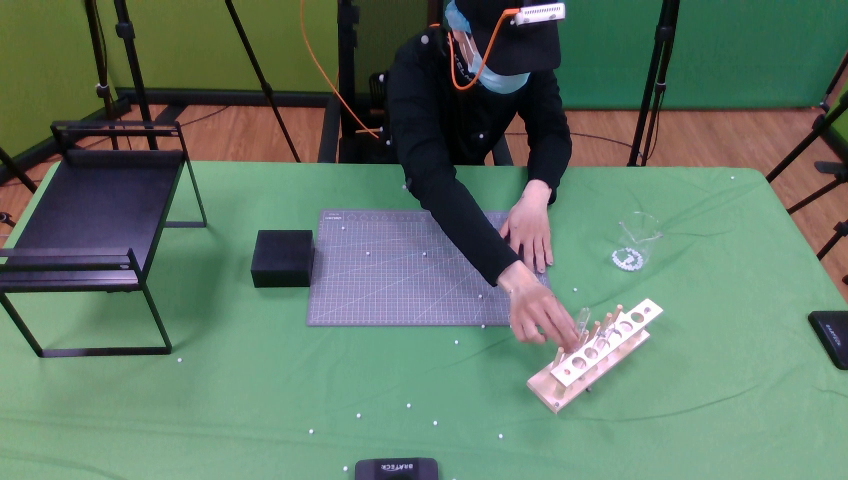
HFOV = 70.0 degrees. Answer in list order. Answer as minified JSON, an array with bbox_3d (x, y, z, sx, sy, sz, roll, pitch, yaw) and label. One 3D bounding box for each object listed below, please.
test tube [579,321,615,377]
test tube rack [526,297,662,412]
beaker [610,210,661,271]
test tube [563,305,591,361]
[{"bbox_3d":[0.265,0.172,0.941,0.017,0.151,0.017,4,49,-4],"label":"test tube"},{"bbox_3d":[0.284,0.176,1.007,0.242,0.085,0.066,-29,54,-27],"label":"test tube rack"},{"bbox_3d":[0.405,0.005,1.169,0.074,0.101,0.083,20,49,15],"label":"beaker"},{"bbox_3d":[0.242,0.151,0.960,0.017,0.151,0.017,1,47,-1],"label":"test tube"}]
